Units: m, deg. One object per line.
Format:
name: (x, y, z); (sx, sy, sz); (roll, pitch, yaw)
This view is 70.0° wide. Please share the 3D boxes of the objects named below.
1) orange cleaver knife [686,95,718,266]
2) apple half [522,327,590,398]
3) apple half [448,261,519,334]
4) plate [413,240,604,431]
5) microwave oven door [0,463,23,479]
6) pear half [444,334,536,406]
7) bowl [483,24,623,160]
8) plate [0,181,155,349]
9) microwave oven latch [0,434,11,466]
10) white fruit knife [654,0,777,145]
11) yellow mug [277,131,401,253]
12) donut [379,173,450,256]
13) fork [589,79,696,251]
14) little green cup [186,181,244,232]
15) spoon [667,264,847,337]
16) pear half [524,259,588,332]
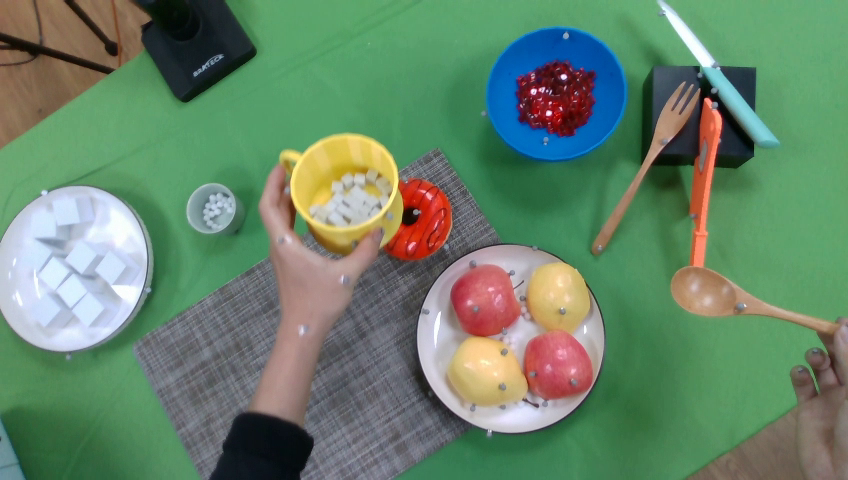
orange cleaver knife: (0.295, -0.047, 0.655); (0.012, 0.077, 0.212); (3, 109, 12)
apple half: (0.135, 0.134, 0.652); (0.081, 0.033, 0.081); (1, 93, 28)
apple half: (0.064, 0.064, 0.669); (0.074, 0.053, 0.080); (-16, 85, 5)
plate: (0.093, 0.104, 0.678); (0.209, 0.038, 0.208); (-1, 83, 6)
microwave oven door: (-0.431, 0.409, 0.583); (0.039, 0.245, 0.354); (-31, 80, 2)
pear half: (0.077, 0.150, 0.660); (0.109, 0.056, 0.076); (30, 92, 5)
bowl: (0.143, -0.157, 0.689); (0.151, 0.077, 0.151); (-1, 83, 6)
plate: (-0.429, 0.031, 0.754); (0.207, 0.039, 0.207); (-1, 83, 7)
microwave oven latch: (-0.525, 0.235, 0.720); (0.030, 0.029, 0.079); (-28, 81, 2)
white fruit knife: (0.309, -0.185, 0.655); (0.027, 0.016, 0.206); (-26, 77, -27)
yellow mug: (-0.088, -0.053, 0.586); (0.130, 0.064, 0.099); (28, 72, 12)
donut: (-0.019, -0.029, 0.705); (0.099, 0.048, 0.099); (-1, 85, 9)
fork: (0.234, -0.076, 0.663); (0.028, 0.018, 0.208); (26, 107, 2)
little green cup: (-0.253, -0.038, 0.741); (0.061, 0.039, 0.061); (-1, 82, 7)
spoon: (0.295, 0.061, 0.488); (0.192, 0.022, 0.041); (16, 65, 21)
pear half: (0.140, 0.066, 0.663); (0.070, 0.031, 0.088); (-4, 92, 31)
